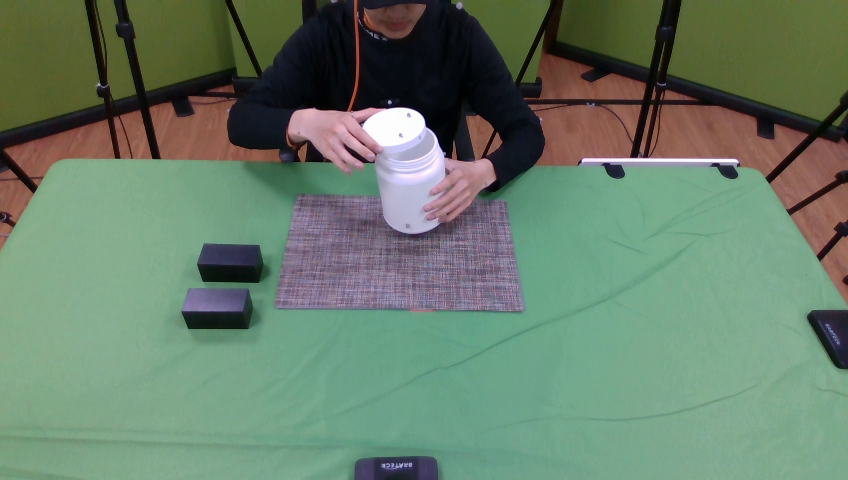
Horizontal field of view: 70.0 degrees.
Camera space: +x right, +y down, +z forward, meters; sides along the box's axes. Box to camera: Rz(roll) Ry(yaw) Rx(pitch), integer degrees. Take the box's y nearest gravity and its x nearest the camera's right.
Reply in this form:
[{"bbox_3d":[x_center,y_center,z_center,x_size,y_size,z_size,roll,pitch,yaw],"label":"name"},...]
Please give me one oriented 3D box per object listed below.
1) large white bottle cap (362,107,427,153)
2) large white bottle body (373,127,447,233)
[{"bbox_3d":[-0.053,-0.197,1.077,0.115,0.018,0.114,-6,47,6],"label":"large white bottle cap"},{"bbox_3d":[-0.025,-0.118,1.155,0.130,0.185,0.130,-3,49,3],"label":"large white bottle body"}]
